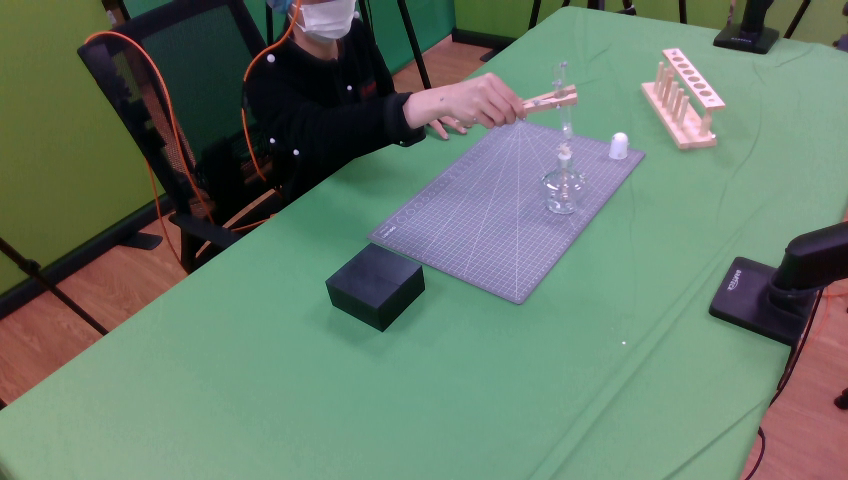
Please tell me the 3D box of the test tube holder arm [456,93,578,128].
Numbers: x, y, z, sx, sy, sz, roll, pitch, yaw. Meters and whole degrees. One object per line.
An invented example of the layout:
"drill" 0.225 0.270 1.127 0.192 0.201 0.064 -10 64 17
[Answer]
"test tube holder arm" 0.132 -0.188 0.879 0.178 0.015 0.013 -10 55 17

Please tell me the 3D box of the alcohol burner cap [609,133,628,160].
"alcohol burner cap" 0.356 -0.172 1.101 0.034 0.048 0.033 -5 41 5

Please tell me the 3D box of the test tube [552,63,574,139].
"test tube" 0.202 -0.196 0.874 0.017 0.151 0.017 -9 58 15

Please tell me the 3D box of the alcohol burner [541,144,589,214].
"alcohol burner" 0.229 -0.102 0.983 0.078 0.119 0.077 -6 41 5

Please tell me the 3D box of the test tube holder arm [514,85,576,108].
"test tube holder arm" 0.174 -0.201 0.870 0.087 0.015 0.010 -17 54 12

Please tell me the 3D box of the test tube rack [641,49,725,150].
"test tube rack" 0.495 -0.279 1.175 0.067 0.085 0.241 -5 41 3
